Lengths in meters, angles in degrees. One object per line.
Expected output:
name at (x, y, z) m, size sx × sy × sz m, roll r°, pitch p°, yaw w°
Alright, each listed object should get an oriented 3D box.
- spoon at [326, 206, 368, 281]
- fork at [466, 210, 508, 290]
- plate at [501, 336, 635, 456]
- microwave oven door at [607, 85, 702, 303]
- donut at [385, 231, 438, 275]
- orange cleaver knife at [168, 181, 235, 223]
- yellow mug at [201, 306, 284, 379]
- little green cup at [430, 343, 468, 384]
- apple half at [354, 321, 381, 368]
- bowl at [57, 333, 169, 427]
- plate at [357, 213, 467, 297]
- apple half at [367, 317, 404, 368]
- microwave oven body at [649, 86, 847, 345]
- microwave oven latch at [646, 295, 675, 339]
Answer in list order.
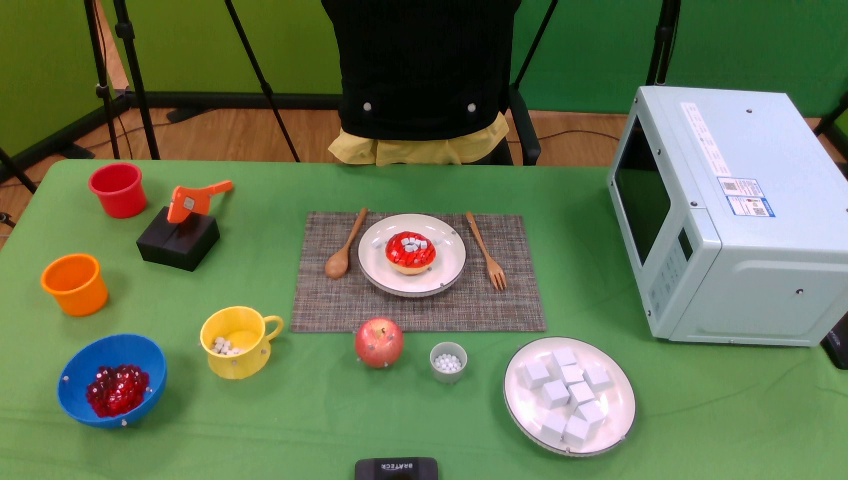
spoon at (-0.145, 0.002, 1.187) m, size 0.041 × 0.022 × 0.193 m, roll 11°, pitch 47°, yaw 8°
fork at (0.120, 0.016, 1.188) m, size 0.028 × 0.019 × 0.206 m, roll -17°, pitch 48°, yaw -5°
plate at (0.225, 0.248, 0.964) m, size 0.208 × 0.039 × 0.206 m, roll 2°, pitch 46°, yaw -2°
microwave oven door at (0.423, -0.094, 1.141) m, size 0.039 × 0.245 × 0.353 m, roll 2°, pitch 46°, yaw -1°
donut at (-0.024, 0.024, 1.142) m, size 0.099 × 0.048 × 0.098 m, roll 3°, pitch 43°, yaw -2°
orange cleaver knife at (-0.436, -0.078, 1.196) m, size 0.012 × 0.077 × 0.211 m, roll 16°, pitch 15°, yaw 10°
yellow mug at (-0.291, 0.160, 0.993) m, size 0.131 × 0.064 × 0.099 m, roll -23°, pitch 51°, yaw -25°
little green cup at (0.039, 0.203, 0.993) m, size 0.061 × 0.039 × 0.061 m, roll 2°, pitch 46°, yaw -2°
apple half at (-0.097, 0.176, 0.985) m, size 0.033 × 0.081 × 0.080 m, roll -12°, pitch 48°, yaw -20°
bowl at (-0.456, 0.223, 0.911) m, size 0.151 × 0.077 × 0.150 m, roll 3°, pitch 45°, yaw -2°
plate at (-0.023, 0.032, 1.150) m, size 0.209 × 0.038 × 0.208 m, roll 2°, pitch 46°, yaw -2°
apple half at (-0.061, 0.167, 0.998) m, size 0.053 × 0.075 × 0.080 m, roll -11°, pitch 44°, yaw -20°
microwave oven body at (0.568, -0.053, 1.118) m, size 0.326 × 0.261 × 0.439 m, roll 2°, pitch 45°, yaw -1°
microwave oven latch at (0.412, 0.134, 1.061) m, size 0.030 × 0.029 × 0.078 m, roll 4°, pitch 45°, yaw 1°
